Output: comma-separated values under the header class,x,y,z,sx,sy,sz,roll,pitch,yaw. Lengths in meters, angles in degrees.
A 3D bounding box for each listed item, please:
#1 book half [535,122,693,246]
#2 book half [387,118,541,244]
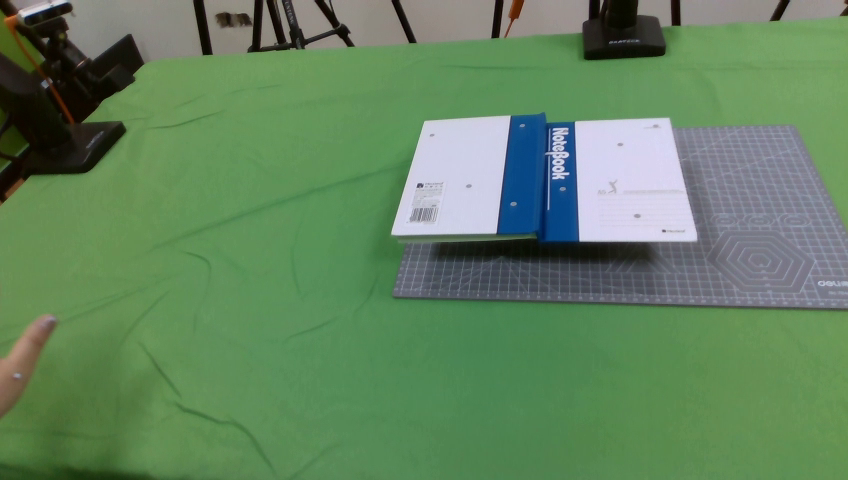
class,x,y,z,sx,sy,sz,roll,pitch,yaw
book half,0.192,-0.065,0.639,0.143,0.007,0.208,0,42,12
book half,0.051,-0.069,0.663,0.148,0.016,0.208,-1,43,13
